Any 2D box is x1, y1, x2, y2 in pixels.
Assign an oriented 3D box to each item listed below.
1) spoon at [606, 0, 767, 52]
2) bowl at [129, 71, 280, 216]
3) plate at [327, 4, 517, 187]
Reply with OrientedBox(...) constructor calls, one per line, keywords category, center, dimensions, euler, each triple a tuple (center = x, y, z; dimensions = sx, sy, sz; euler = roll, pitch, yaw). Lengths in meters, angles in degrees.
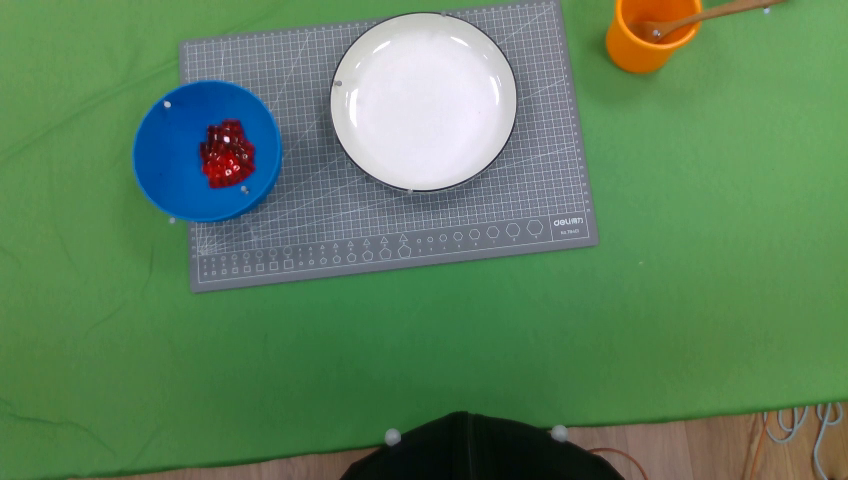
OrientedBox(category="spoon", center=(0.281, -0.234, 0.631), dimensions=(0.022, 0.192, 0.041), euler=(13, 80, -41))
OrientedBox(category="bowl", center=(-0.221, -0.092, 0.646), dimensions=(0.151, 0.077, 0.151), euler=(0, 81, 1))
OrientedBox(category="plate", center=(-0.002, -0.158, 0.675), dimensions=(0.209, 0.038, 0.208), euler=(0, 80, 1))
